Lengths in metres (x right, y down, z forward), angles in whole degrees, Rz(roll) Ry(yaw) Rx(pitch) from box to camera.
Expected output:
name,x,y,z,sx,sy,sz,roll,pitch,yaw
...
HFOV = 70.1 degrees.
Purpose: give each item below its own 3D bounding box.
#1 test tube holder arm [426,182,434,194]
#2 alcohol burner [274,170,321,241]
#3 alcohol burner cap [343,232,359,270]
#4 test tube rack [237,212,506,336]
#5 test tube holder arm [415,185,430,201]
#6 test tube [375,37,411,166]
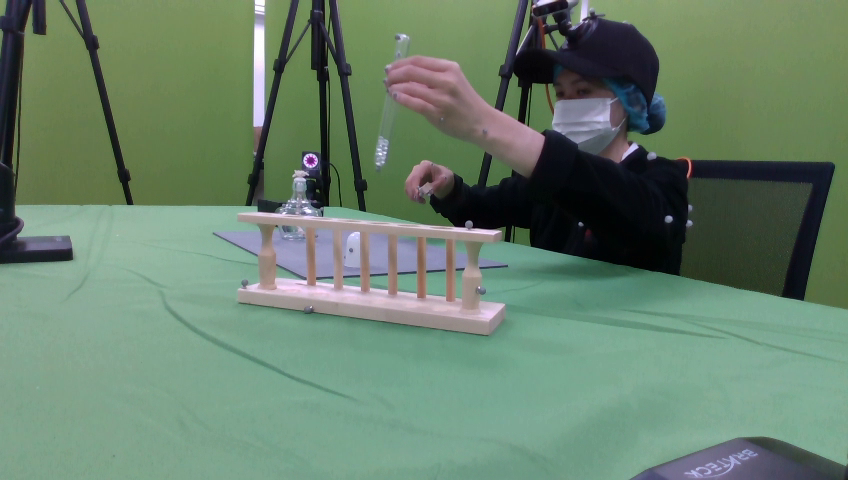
name,x,y,z,sx,sy,sz,roll,pitch,yaw
test tube holder arm,0.006,-0.088,1.044,0.010,0.015,0.087,-34,2,-6
alcohol burner,-0.212,-0.058,1.015,0.078,0.119,0.078,4,5,0
alcohol burner cap,-0.087,0.013,0.777,0.034,0.048,0.034,3,7,0
test tube rack,-0.049,0.024,0.552,0.242,0.085,0.067,5,8,18
test tube holder arm,-0.004,-0.084,1.088,0.013,0.015,0.178,-34,2,-6
test tube,-0.036,-0.161,0.706,0.017,0.150,0.017,11,7,-1
